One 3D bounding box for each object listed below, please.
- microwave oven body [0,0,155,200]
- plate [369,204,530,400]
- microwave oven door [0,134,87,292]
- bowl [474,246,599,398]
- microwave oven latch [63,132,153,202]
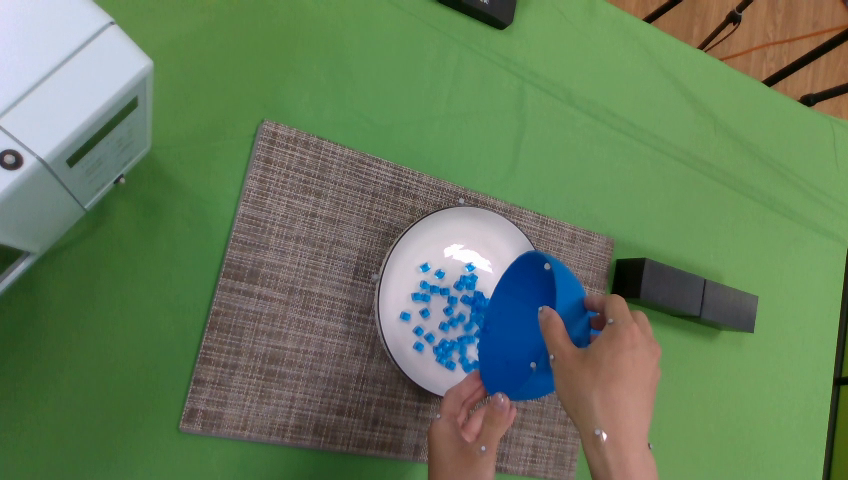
[{"bbox_3d":[-0.433,-0.042,0.324,0.328,0.259,0.440,44,72,-17],"label":"microwave oven body"},{"bbox_3d":[0.036,0.066,0.656,0.209,0.039,0.207,2,86,-25],"label":"plate"},{"bbox_3d":[-0.354,0.087,0.349,0.039,0.243,0.355,44,71,-15],"label":"microwave oven door"},{"bbox_3d":[0.119,0.089,0.601,0.077,0.151,0.151,18,80,-16],"label":"bowl"},{"bbox_3d":[-0.265,-0.069,0.509,0.030,0.029,0.079,46,71,-16],"label":"microwave oven latch"}]
